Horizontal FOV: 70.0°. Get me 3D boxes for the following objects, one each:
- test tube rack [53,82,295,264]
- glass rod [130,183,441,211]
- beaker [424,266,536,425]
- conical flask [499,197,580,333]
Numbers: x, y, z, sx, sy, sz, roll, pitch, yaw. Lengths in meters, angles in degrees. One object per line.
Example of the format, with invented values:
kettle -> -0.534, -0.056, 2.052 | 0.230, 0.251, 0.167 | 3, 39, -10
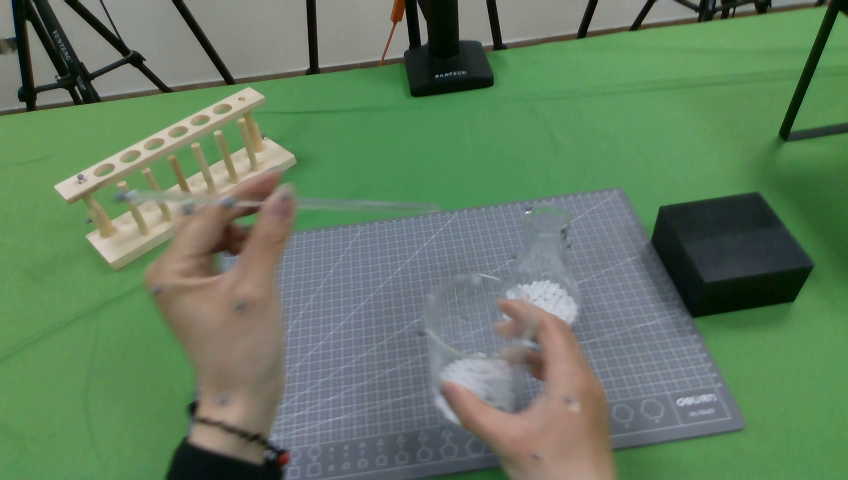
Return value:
test tube rack -> -0.274, -0.083, 0.695 | 0.066, 0.086, 0.242 | 33, 57, 32
glass rod -> -0.069, -0.024, 0.369 | 0.201, 0.008, 0.008 | 1, 36, -37
beaker -> 0.037, 0.079, 0.440 | 0.074, 0.101, 0.083 | 0, 44, 0
conical flask -> 0.103, 0.019, 0.528 | 0.075, 0.123, 0.074 | -3, 46, 3
